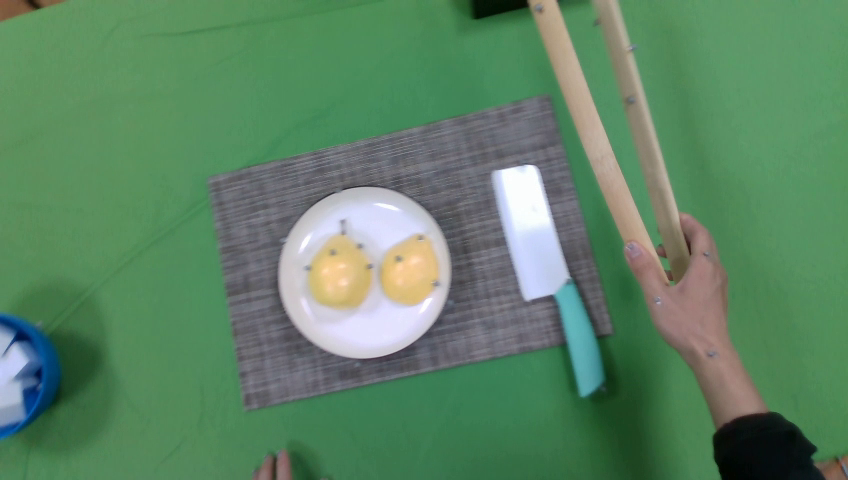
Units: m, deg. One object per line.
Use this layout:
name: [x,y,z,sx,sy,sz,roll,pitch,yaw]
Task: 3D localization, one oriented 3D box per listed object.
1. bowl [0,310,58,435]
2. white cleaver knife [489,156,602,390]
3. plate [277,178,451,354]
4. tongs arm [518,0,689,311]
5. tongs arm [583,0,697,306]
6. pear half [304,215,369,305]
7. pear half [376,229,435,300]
bowl: [-0.505,0.160,0.733,0.151,0.077,0.151,-1,81,6]
white cleaver knife: [0.140,0.035,0.714,0.066,0.022,0.285,-18,77,13]
plate: [-0.070,0.031,0.723,0.207,0.039,0.207,-1,82,6]
tongs arm: [0.159,-0.103,0.571,0.027,0.028,0.388,-21,96,43]
tongs arm: [0.206,-0.120,0.615,0.026,0.051,0.384,-20,88,47]
pear half: [-0.105,0.020,0.714,0.076,0.056,0.109,-2,77,2]
pear half: [-0.022,0.028,0.713,0.070,0.031,0.088,20,90,5]
